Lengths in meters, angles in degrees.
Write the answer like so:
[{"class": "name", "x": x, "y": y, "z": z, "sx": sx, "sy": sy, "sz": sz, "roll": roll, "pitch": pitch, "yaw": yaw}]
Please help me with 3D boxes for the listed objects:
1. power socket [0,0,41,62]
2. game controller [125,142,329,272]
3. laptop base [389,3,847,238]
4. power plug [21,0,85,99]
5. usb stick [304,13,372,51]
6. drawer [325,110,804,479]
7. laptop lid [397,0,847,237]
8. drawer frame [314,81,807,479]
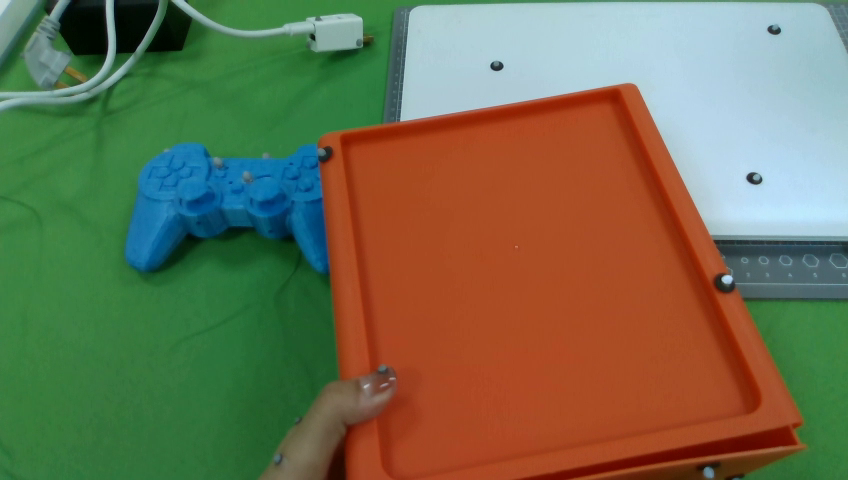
[{"class": "power socket", "x": -0.410, "y": -0.230, "z": 0.573, "sx": 0.072, "sy": 0.033, "sz": 0.225, "roll": 4, "pitch": 58, "yaw": 4}, {"class": "game controller", "x": -0.129, "y": -0.028, "z": 0.426, "sx": 0.155, "sy": 0.052, "sz": 0.096, "roll": 1, "pitch": 54, "yaw": 3}, {"class": "laptop base", "x": 0.156, "y": -0.099, "z": 0.472, "sx": 0.354, "sy": 0.023, "sz": 0.233, "roll": 1, "pitch": 61, "yaw": 3}, {"class": "power plug", "x": -0.300, "y": -0.156, "z": 0.504, "sx": 0.072, "sy": 0.053, "sz": 0.035, "roll": -52, "pitch": 35, "yaw": 5}, {"class": "usb stick", "x": -0.073, "y": -0.181, "z": 0.525, "sx": 0.059, "sy": 0.027, "sz": 0.021, "roll": -16, "pitch": 35, "yaw": -32}, {"class": "drawer", "x": 0.054, "y": 0.036, "z": 0.333, "sx": 0.194, "sy": 0.074, "sz": 0.209, "roll": -10, "pitch": 58, "yaw": -3}, {"class": "laptop lid", "x": 0.155, "y": -0.104, "z": 0.461, "sx": 0.356, "sy": 0.013, "sz": 0.239, "roll": 2, "pitch": 60, "yaw": 4}, {"class": "drawer frame", "x": 0.051, "y": 0.028, "z": 0.336, "sx": 0.202, "sy": 0.083, "sz": 0.211, "roll": -11, "pitch": 58, "yaw": -3}]
